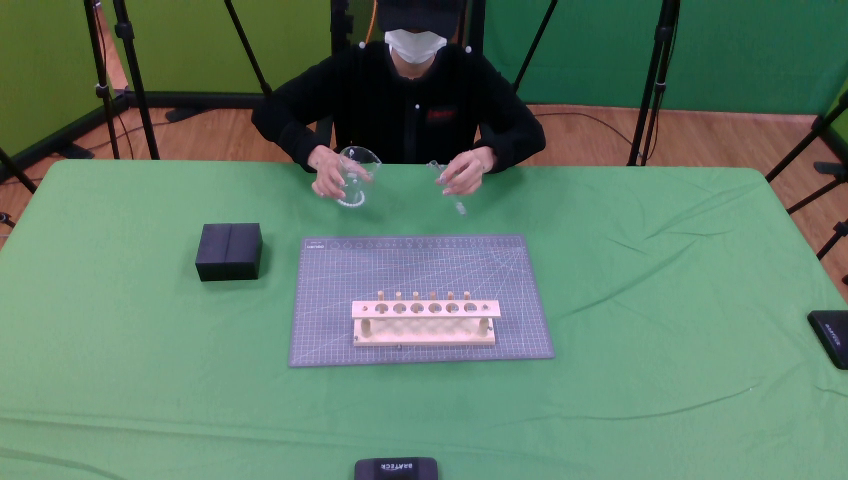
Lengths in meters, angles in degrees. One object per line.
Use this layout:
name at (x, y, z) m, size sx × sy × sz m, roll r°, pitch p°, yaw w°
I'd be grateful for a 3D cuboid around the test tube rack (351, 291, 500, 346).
test tube rack at (0.001, 0.129, 1.026) m, size 0.242 × 0.085 × 0.066 m, roll 0°, pitch 46°, yaw -4°

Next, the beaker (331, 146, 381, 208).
beaker at (-0.133, -0.116, 1.150) m, size 0.084 × 0.100 × 0.073 m, roll -1°, pitch 51°, yaw -24°

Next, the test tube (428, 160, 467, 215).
test tube at (0.045, -0.093, 1.108) m, size 0.017 × 0.151 × 0.017 m, roll -16°, pitch 50°, yaw 20°
